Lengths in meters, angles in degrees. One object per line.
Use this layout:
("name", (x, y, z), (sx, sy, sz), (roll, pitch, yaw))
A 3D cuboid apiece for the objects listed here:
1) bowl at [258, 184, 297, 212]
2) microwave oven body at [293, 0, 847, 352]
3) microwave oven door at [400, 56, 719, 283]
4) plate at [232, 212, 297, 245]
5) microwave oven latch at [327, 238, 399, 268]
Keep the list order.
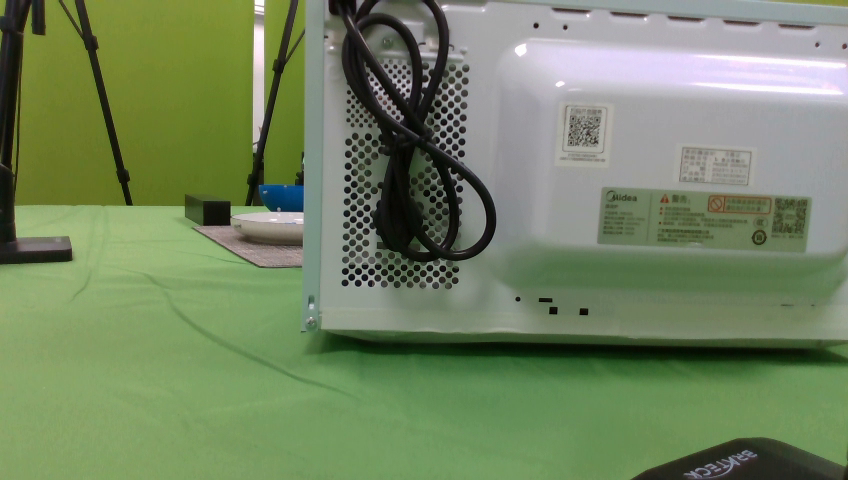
("bowl", (-0.286, -0.079, 1.327), (0.151, 0.077, 0.151), (2, 8, 0))
("microwave oven body", (0.122, -0.055, 0.550), (0.442, 0.260, 0.325), (3, 7, -5))
("microwave oven door", (0.155, -0.077, 0.698), (0.356, 0.243, 0.039), (2, 8, -5))
("plate", (-0.214, -0.019, 1.018), (0.208, 0.039, 0.207), (2, 7, 0))
("microwave oven latch", (-0.069, 0.015, 0.694), (0.079, 0.029, 0.030), (3, 7, -3))
